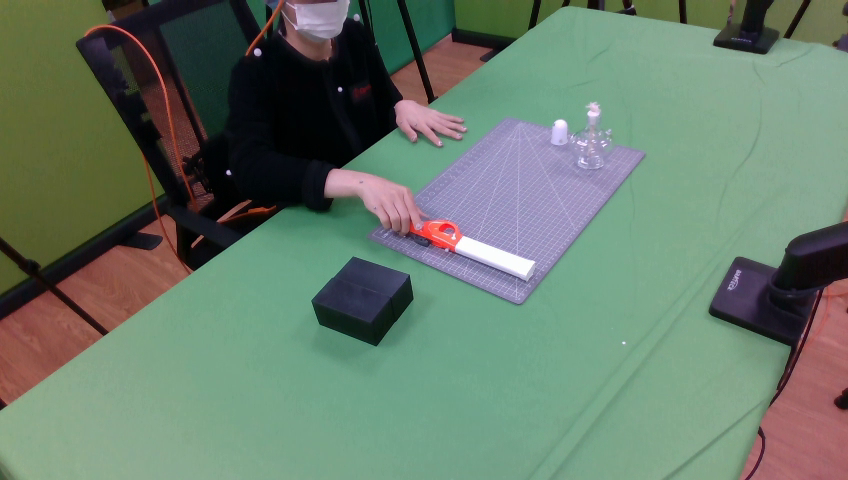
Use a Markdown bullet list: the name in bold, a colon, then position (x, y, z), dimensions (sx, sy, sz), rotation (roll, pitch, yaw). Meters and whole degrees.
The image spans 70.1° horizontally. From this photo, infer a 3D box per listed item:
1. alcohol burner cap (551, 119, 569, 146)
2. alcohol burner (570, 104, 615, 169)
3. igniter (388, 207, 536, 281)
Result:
- **alcohol burner cap**: position (0.261, -0.207, 1.156), dimensions (0.034, 0.048, 0.033), rotation (-5, 41, 5)
- **alcohol burner**: position (0.299, -0.186, 1.071), dimensions (0.078, 0.119, 0.077), rotation (-6, 41, 6)
- **igniter**: position (0.049, 0.001, 0.954), dimensions (0.274, 0.025, 0.057), rotation (22, 59, 30)
